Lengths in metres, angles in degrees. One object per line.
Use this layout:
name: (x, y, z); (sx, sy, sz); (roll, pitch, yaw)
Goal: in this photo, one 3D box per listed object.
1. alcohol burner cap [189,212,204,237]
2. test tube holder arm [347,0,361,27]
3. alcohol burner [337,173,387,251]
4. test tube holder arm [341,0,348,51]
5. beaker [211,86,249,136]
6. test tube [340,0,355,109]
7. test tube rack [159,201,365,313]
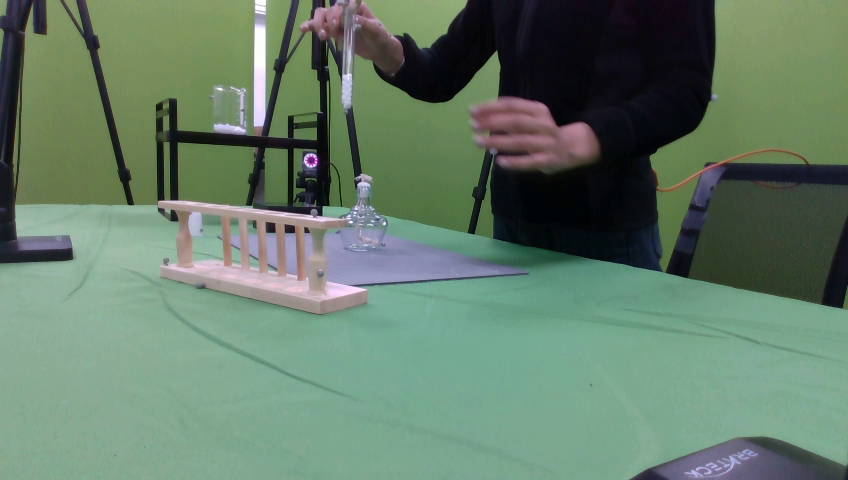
alcohol burner cap: (-0.390, -0.029, 1.025); (0.034, 0.048, 0.034); (2, 9, 0)
test tube holder arm: (-0.101, -0.319, 0.840); (0.010, 0.015, 0.087); (-4, -3, -18)
alcohol burner: (-0.095, -0.043, 0.926); (0.078, 0.119, 0.078); (3, 6, 0)
test tube holder arm: (-0.116, -0.315, 0.883); (0.013, 0.015, 0.178); (-4, -3, -9)
beaker: (-0.413, -0.274, 1.297); (0.074, 0.100, 0.083); (-5, 11, -44)
test tube: (-0.103, -0.252, 0.816); (0.017, 0.150, 0.017); (2, -1, 0)
test tube rack: (-0.173, 0.009, 0.624); (0.241, 0.085, 0.067); (7, 9, 34)
